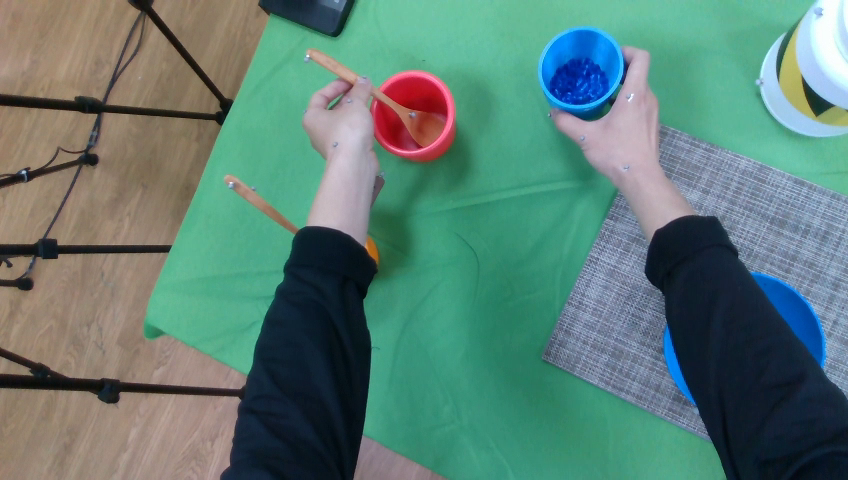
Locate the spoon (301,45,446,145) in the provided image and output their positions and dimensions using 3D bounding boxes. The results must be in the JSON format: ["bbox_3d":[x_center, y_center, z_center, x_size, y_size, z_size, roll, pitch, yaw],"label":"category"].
[{"bbox_3d":[-0.052,-0.164,0.682,0.021,0.195,0.041,18,82,55],"label":"spoon"}]

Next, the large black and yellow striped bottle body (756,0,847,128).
[{"bbox_3d":[0.416,-0.191,0.579,0.130,0.184,0.130,-1,87,10],"label":"large black and yellow striped bottle body"}]

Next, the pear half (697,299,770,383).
[{"bbox_3d":[0.323,0.104,0.626,0.070,0.031,0.088,5,84,5],"label":"pear half"}]

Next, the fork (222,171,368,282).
[{"bbox_3d":[-0.142,-0.013,0.688,0.028,0.018,0.209,-41,125,14],"label":"fork"}]

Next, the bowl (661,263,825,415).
[{"bbox_3d":[0.320,0.100,0.633,0.151,0.077,0.151,-1,87,11],"label":"bowl"}]

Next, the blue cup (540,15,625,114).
[{"bbox_3d":[0.167,-0.180,0.666,0.092,0.100,0.092,0,90,6],"label":"blue cup"}]

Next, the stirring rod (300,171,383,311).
[{"bbox_3d":[-0.093,0.001,0.677,0.014,0.006,0.176,29,93,8],"label":"stirring rod"}]

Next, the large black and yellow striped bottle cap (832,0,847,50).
[{"bbox_3d":[0.402,-0.195,0.496,0.115,0.019,0.115,-1,88,11],"label":"large black and yellow striped bottle cap"}]
